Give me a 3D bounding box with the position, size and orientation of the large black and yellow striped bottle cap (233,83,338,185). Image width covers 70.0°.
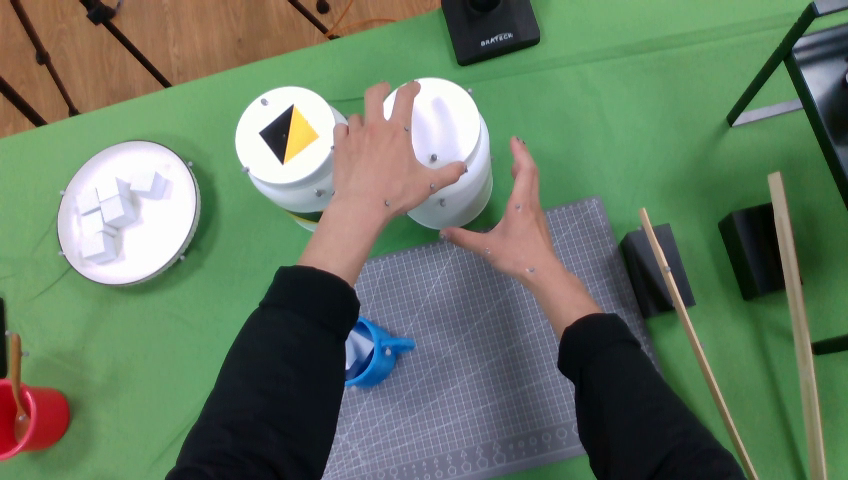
[{"bbox_3d":[-0.153,-0.118,0.667,0.115,0.019,0.114,-1,77,7],"label":"large black and yellow striped bottle cap"}]

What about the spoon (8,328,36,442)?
[{"bbox_3d":[-0.502,0.183,0.751,0.041,0.021,0.195,30,126,16],"label":"spoon"}]

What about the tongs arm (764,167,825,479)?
[{"bbox_3d":[0.406,0.111,0.670,0.028,0.028,0.387,-6,88,-3],"label":"tongs arm"}]

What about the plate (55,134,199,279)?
[{"bbox_3d":[-0.409,-0.045,0.846,0.207,0.039,0.206,-2,77,7],"label":"plate"}]

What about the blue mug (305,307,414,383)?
[{"bbox_3d":[-0.070,0.126,0.725,0.116,0.106,0.082,-8,75,5],"label":"blue mug"}]

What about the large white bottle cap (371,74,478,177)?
[{"bbox_3d":[0.001,-0.123,0.647,0.115,0.018,0.114,-2,77,7],"label":"large white bottle cap"}]

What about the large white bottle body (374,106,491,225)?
[{"bbox_3d":[0.013,-0.102,0.728,0.130,0.185,0.130,-2,76,7],"label":"large white bottle body"}]

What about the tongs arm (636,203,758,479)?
[{"bbox_3d":[0.327,0.132,0.673,0.051,0.026,0.384,-19,87,0],"label":"tongs arm"}]

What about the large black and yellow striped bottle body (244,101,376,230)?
[{"bbox_3d":[-0.141,-0.096,0.747,0.130,0.185,0.130,-2,76,8],"label":"large black and yellow striped bottle body"}]
